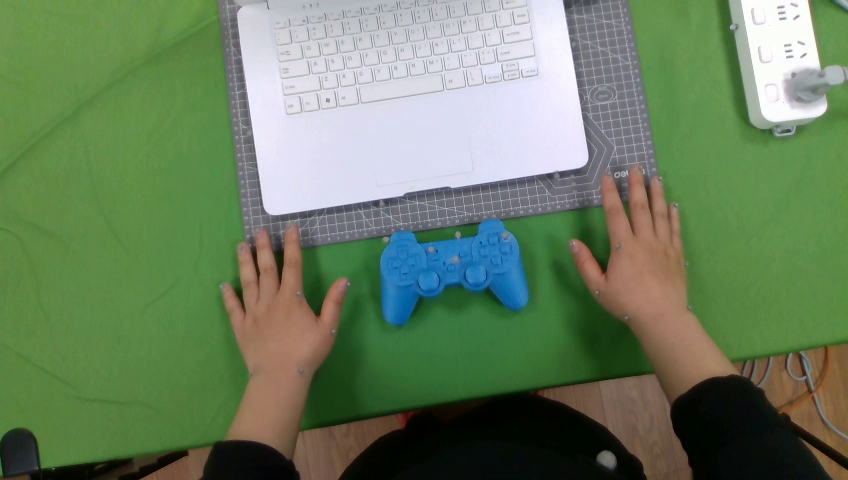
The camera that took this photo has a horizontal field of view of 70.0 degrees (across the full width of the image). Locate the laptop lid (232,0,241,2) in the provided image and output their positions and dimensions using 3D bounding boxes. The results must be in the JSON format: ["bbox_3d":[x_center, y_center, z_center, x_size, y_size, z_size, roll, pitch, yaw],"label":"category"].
[{"bbox_3d":[-0.044,-0.316,0.550,0.357,0.243,0.013,-10,77,2],"label":"laptop lid"}]

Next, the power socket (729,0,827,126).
[{"bbox_3d":[0.369,-0.236,0.644,0.072,0.032,0.226,-7,85,2],"label":"power socket"}]

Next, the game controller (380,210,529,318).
[{"bbox_3d":[0.029,0.024,0.628,0.155,0.052,0.096,-8,81,1],"label":"game controller"}]

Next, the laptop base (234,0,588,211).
[{"bbox_3d":[-0.016,-0.173,0.657,0.354,0.023,0.235,-10,89,1],"label":"laptop base"}]

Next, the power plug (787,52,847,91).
[{"bbox_3d":[0.409,-0.169,0.618,0.072,0.053,0.035,4,85,-2],"label":"power plug"}]
